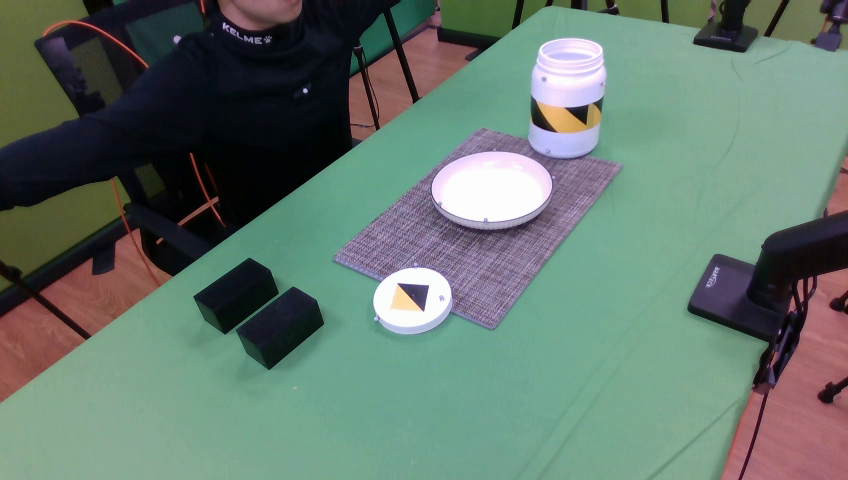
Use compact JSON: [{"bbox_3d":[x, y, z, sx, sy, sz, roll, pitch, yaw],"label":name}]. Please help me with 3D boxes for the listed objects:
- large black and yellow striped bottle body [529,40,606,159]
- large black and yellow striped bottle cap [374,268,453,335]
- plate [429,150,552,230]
[{"bbox_3d":[0.259,-0.257,1.103,0.131,0.185,0.130,-3,38,3],"label":"large black and yellow striped bottle body"},{"bbox_3d":[-0.015,0.087,0.871,0.115,0.019,0.114,-6,43,6],"label":"large black and yellow striped bottle cap"},{"bbox_3d":[0.113,-0.082,1.032,0.207,0.039,0.206,-4,41,4],"label":"plate"}]
